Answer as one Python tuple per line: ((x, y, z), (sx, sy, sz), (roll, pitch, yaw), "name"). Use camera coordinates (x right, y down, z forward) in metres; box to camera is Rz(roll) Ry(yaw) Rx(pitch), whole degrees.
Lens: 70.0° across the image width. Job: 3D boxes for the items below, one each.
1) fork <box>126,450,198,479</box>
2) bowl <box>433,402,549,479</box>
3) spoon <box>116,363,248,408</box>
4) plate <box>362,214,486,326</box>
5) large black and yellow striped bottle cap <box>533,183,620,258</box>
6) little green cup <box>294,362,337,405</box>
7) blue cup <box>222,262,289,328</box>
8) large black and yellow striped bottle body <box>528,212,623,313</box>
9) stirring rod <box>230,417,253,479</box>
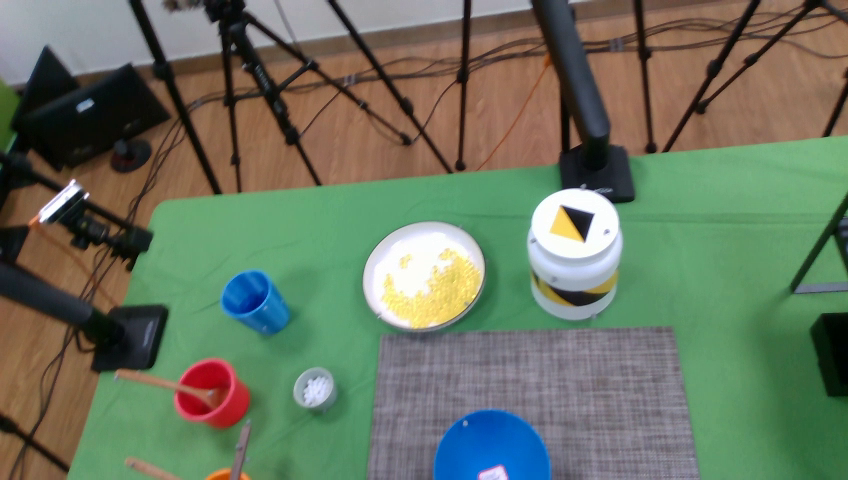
((-0.310, 0.335, 0.833), (0.209, 0.018, 0.028), (34, 66, -19), "fork")
((0.092, 0.301, 0.805), (0.151, 0.077, 0.150), (-6, 58, 9), "bowl")
((-0.365, 0.216, 0.923), (0.195, 0.021, 0.041), (24, 59, -24), "spoon")
((0.001, 0.052, 1.008), (0.209, 0.038, 0.207), (-5, 58, 9), "plate")
((0.206, -0.028, 0.823), (0.115, 0.019, 0.114), (-6, 57, 10), "large black and yellow striped bottle cap")
((-0.165, 0.224, 0.937), (0.061, 0.039, 0.061), (-6, 58, 10), "little green cup")
((-0.270, 0.098, 1.000), (0.092, 0.101, 0.092), (-7, 58, 11), "blue cup")
((0.222, 0.015, 0.894), (0.130, 0.186, 0.129), (-6, 58, 9), "large black and yellow striped bottle body")
((-0.257, 0.328, 0.823), (0.014, 0.006, 0.174), (-3, 58, 13), "stirring rod")
